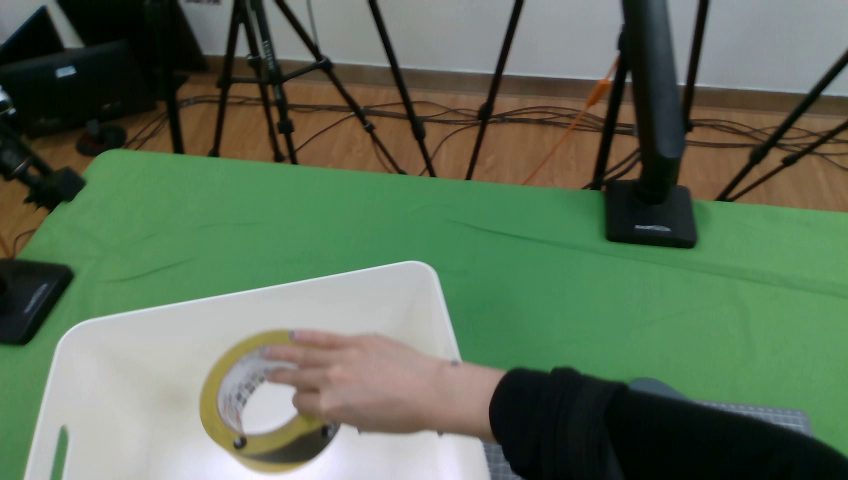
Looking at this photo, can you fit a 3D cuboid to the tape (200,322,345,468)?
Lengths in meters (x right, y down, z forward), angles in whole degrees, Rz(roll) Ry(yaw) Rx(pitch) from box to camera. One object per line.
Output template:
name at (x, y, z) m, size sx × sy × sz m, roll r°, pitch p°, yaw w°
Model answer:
tape at (-0.127, 0.130, 0.513) m, size 0.117 × 0.053 × 0.115 m, roll -5°, pitch 51°, yaw 7°

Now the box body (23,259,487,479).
box body at (-0.143, 0.190, 0.578) m, size 0.364 × 0.162 × 0.251 m, roll -11°, pitch 50°, yaw -7°

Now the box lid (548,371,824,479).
box lid at (0.296, 0.307, 0.561) m, size 0.368 × 0.015 × 0.263 m, roll 32°, pitch 58°, yaw 26°
